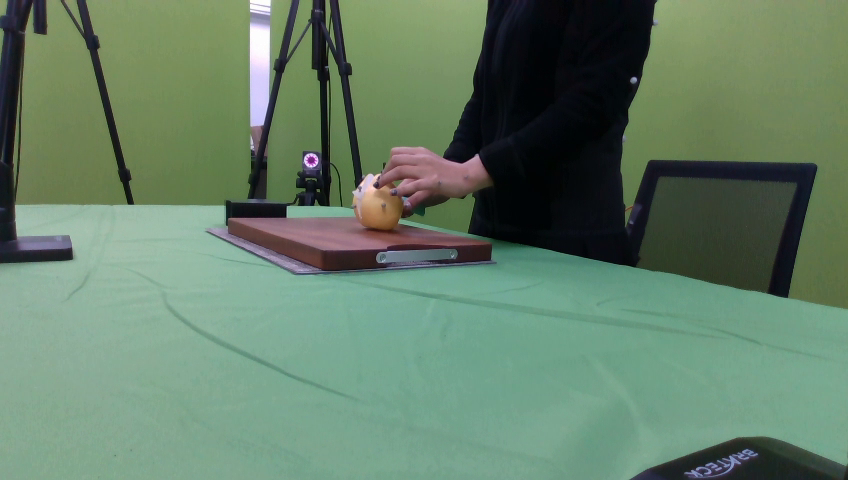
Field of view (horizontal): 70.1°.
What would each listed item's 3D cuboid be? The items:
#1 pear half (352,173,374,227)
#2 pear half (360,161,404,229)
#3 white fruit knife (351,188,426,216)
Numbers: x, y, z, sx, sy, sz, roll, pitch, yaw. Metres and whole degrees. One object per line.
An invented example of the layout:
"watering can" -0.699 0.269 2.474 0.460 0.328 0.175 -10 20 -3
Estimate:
"pear half" -0.097 -0.066 0.993 0.031 0.088 0.071 0 8 28
"pear half" -0.060 -0.072 0.972 0.056 0.110 0.076 9 11 27
"white fruit knife" -0.056 -0.067 1.028 0.016 0.027 0.208 5 -2 33
